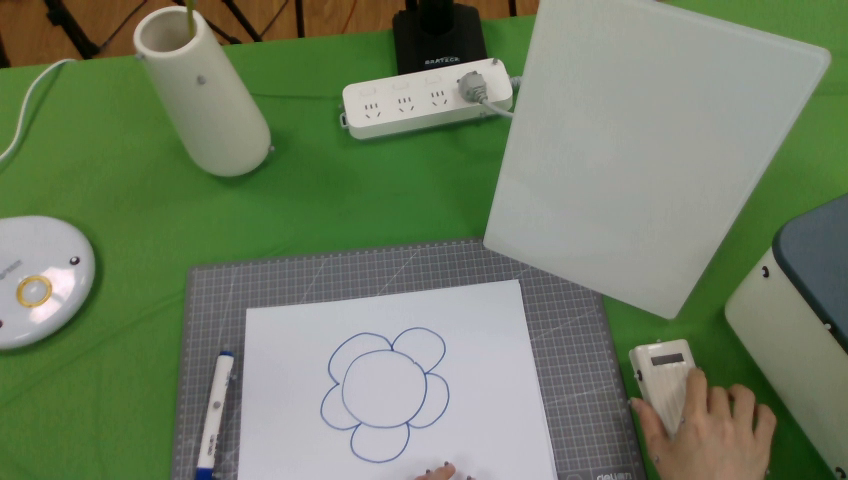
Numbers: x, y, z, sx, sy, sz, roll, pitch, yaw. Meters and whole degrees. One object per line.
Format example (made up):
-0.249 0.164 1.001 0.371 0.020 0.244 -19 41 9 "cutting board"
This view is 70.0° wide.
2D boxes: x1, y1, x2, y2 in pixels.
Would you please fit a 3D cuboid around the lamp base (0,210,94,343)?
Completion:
-0.463 -0.002 0.608 0.178 0.182 0.160 24 66 17 "lamp base"

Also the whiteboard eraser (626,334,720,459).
0.238 0.150 0.585 0.055 0.042 0.111 -7 63 -3 "whiteboard eraser"

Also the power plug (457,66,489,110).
0.059 -0.177 0.734 0.035 0.053 0.072 -1 69 1 "power plug"

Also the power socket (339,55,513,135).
0.004 -0.183 0.764 0.227 0.033 0.071 -11 64 -4 "power socket"

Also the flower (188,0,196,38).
-0.223 -0.193 0.593 0.038 0.362 0.044 42 62 2 "flower"

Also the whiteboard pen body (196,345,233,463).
-0.207 0.173 0.596 0.017 0.017 0.139 2 66 4 "whiteboard pen body"

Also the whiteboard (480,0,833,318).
0.206 -0.105 0.600 0.216 0.308 0.143 23 46 14 "whiteboard"

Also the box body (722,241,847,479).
0.476 0.123 0.521 0.254 0.161 0.360 -23 65 -9 "box body"

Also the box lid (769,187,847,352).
0.472 0.087 0.455 0.263 0.015 0.368 -23 65 -8 "box lid"

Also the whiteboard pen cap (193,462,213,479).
-0.210 0.227 0.572 0.018 0.018 0.033 1 66 3 "whiteboard pen cap"

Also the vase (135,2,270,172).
-0.240 -0.161 0.669 0.098 0.201 0.097 -1 63 3 "vase"
